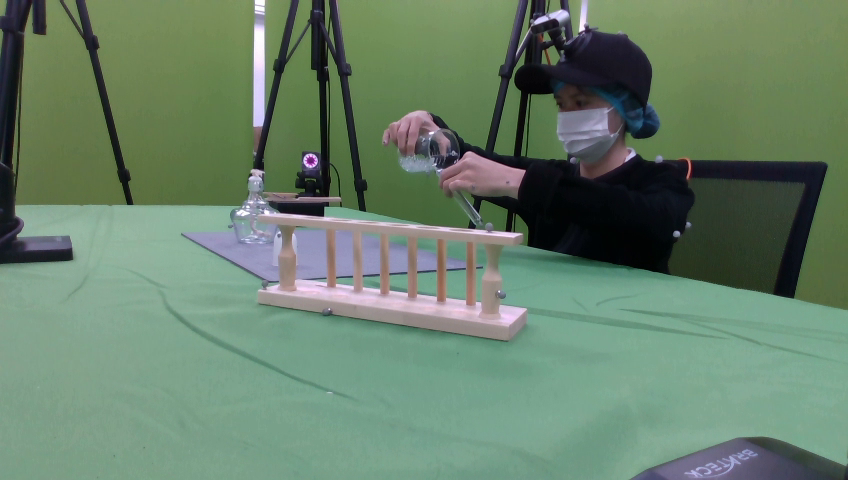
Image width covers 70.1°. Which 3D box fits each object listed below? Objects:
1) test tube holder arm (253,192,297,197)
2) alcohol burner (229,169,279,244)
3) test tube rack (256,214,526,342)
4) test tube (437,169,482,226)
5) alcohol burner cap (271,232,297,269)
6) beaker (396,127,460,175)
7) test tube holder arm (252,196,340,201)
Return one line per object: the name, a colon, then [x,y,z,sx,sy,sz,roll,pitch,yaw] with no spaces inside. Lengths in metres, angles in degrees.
test tube holder arm: [-0.301,-0.092,1.223,0.088,0.010,0.015,0,7,-25]
alcohol burner: [-0.268,-0.053,0.958,0.078,0.119,0.078,2,5,0]
test tube rack: [-0.032,0.027,0.547,0.241,0.085,0.067,5,7,22]
test tube: [0.058,-0.072,1.001,0.017,0.017,0.149,-2,40,-30]
alcohol burner cap: [-0.175,0.012,0.760,0.034,0.048,0.034,2,8,0]
beaker: [0.004,-0.156,1.088,0.074,0.084,0.100,14,-7,-39]
test tube holder arm: [-0.260,-0.087,1.242,0.179,0.013,0.015,-1,7,-25]
